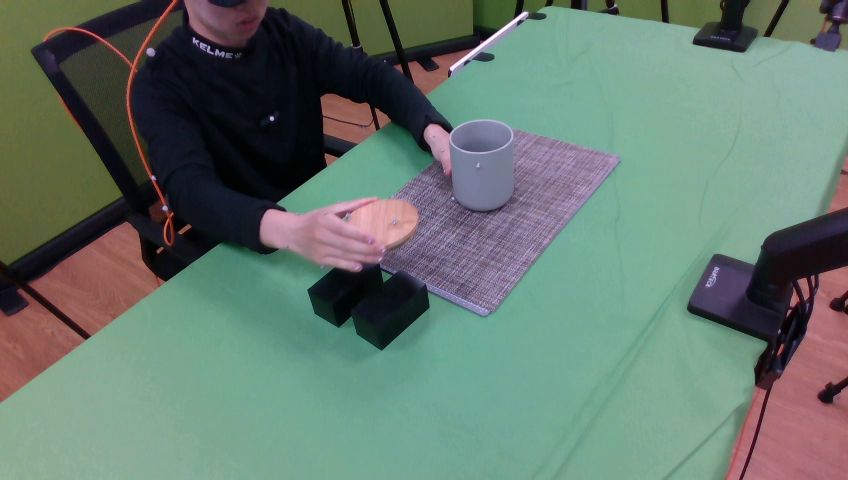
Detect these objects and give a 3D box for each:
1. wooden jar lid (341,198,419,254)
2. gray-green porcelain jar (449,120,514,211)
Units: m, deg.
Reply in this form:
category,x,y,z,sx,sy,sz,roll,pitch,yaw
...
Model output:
category,x,y,z,sx,sy,sz,roll,pitch,yaw
wooden jar lid,-0.059,-0.017,0.829,0.108,0.021,0.108,-9,38,7
gray-green porcelain jar,0.097,-0.120,1.009,0.106,0.127,0.105,-4,41,4
